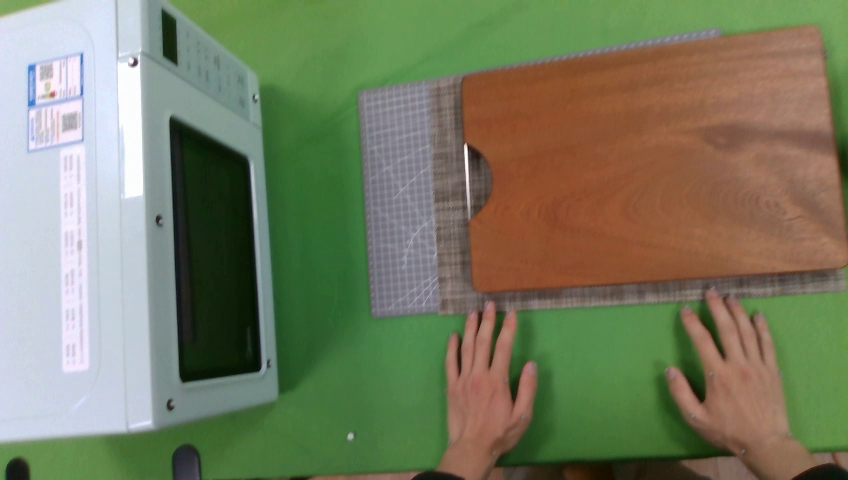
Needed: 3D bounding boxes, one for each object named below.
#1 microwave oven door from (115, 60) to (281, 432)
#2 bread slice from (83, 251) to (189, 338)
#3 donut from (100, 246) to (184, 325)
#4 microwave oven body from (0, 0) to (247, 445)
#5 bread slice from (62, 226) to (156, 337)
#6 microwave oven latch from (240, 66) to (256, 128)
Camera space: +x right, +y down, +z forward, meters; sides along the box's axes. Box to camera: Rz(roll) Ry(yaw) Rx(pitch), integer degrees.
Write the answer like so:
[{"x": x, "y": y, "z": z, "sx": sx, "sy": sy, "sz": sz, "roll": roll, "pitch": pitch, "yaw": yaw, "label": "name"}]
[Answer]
[{"x": -0.244, "y": 0.014, "z": 0.678, "sx": 0.039, "sy": 0.245, "sz": 0.354, "roll": -9, "pitch": 81, "yaw": 12, "label": "microwave oven door"}, {"x": -0.369, "y": 0.066, "z": 0.769, "sx": 0.131, "sy": 0.019, "sz": 0.105, "roll": 5, "pitch": 90, "yaw": 6, "label": "bread slice"}, {"x": -0.343, "y": 0.055, "z": 0.736, "sx": 0.099, "sy": 0.048, "sz": 0.099, "roll": 0, "pitch": 99, "yaw": 1, "label": "donut"}, {"x": -0.389, "y": -0.005, "z": 0.720, "sx": 0.325, "sy": 0.261, "sz": 0.440, "roll": -9, "pitch": 82, "yaw": 12, "label": "microwave oven body"}, {"x": -0.363, "y": 0.057, "z": 0.691, "sx": 0.134, "sy": 0.018, "sz": 0.106, "roll": -21, "pitch": 81, "yaw": 24, "label": "bread slice"}, {"x": -0.244, "y": -0.188, "z": 0.808, "sx": 0.030, "sy": 0.029, "sz": 0.079, "roll": -8, "pitch": 82, "yaw": 12, "label": "microwave oven latch"}]
